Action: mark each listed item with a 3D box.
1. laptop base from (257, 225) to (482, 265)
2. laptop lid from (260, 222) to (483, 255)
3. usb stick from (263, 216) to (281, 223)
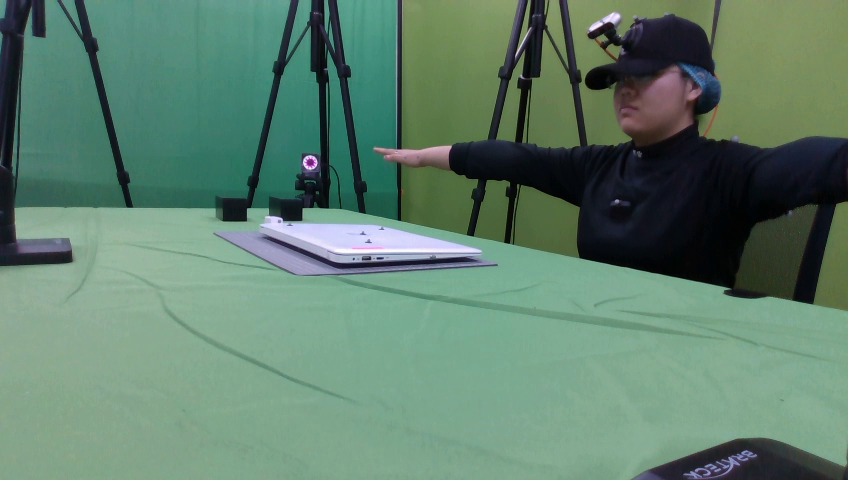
[{"bbox_3d":[-0.102,0.006,0.962,0.237,0.023,0.352,2,6,-32],"label":"laptop base"},{"bbox_3d":[-0.099,-0.005,0.962,0.243,0.013,0.355,1,7,-30],"label":"laptop lid"},{"bbox_3d":[-0.269,-0.028,1.080,0.021,0.027,0.059,-2,11,-30],"label":"usb stick"}]
